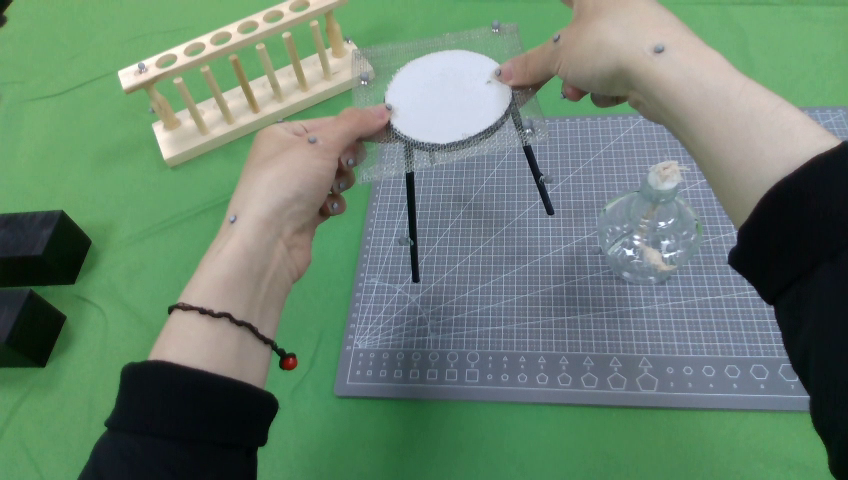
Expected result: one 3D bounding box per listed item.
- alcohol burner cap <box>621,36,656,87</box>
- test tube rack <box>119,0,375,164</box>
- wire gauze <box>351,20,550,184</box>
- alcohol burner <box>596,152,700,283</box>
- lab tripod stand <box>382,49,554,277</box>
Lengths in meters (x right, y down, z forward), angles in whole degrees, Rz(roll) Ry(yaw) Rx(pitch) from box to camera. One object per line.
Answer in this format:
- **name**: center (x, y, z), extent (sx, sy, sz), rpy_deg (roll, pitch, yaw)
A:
- **alcohol burner cap**: center (0.221, -0.184, 0.616), extent (0.034, 0.048, 0.033), rpy_deg (-5, 55, 7)
- **test tube rack**: center (-0.182, -0.179, 0.648), extent (0.242, 0.086, 0.066), rpy_deg (-26, 55, -10)
- **wire gauze**: center (0.012, -0.099, 0.402), extent (0.121, 0.011, 0.124), rpy_deg (-10, 58, 5)
- **alcohol burner**: center (0.172, -0.020, 0.460), extent (0.078, 0.120, 0.077), rpy_deg (-5, 52, 6)
- **lab tripod stand**: center (0.024, -0.058, 0.454), extent (0.148, 0.133, 0.147), rpy_deg (-4, 57, 7)
